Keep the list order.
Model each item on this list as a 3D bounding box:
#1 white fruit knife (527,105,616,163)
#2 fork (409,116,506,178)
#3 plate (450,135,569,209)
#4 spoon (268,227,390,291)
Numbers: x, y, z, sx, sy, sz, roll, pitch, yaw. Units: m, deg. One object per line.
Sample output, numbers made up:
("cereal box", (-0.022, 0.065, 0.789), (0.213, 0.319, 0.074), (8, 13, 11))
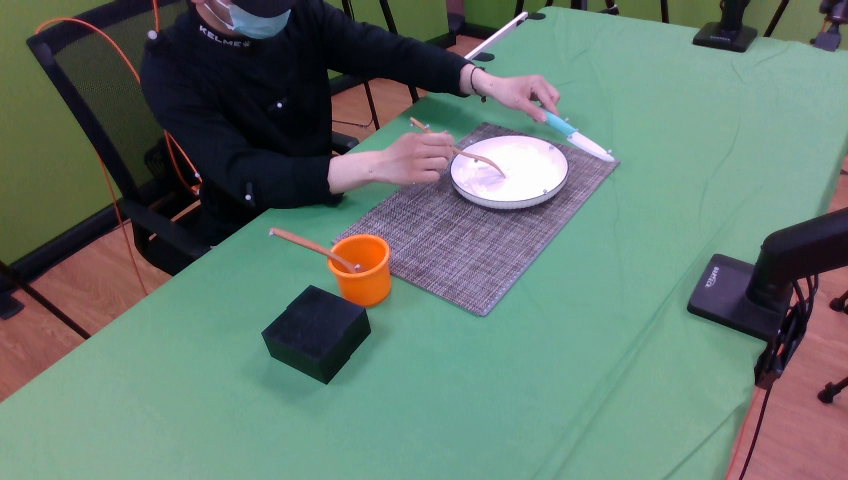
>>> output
("white fruit knife", (0.270, -0.196, 1.110), (0.016, 0.027, 0.205), (-10, 42, -45))
("fork", (0.060, -0.157, 1.031), (0.209, 0.018, 0.028), (24, 20, -25))
("plate", (0.150, -0.117, 1.066), (0.209, 0.038, 0.208), (-4, 41, 4))
("spoon", (-0.132, 0.025, 0.862), (0.021, 0.195, 0.041), (-41, 31, 32))
